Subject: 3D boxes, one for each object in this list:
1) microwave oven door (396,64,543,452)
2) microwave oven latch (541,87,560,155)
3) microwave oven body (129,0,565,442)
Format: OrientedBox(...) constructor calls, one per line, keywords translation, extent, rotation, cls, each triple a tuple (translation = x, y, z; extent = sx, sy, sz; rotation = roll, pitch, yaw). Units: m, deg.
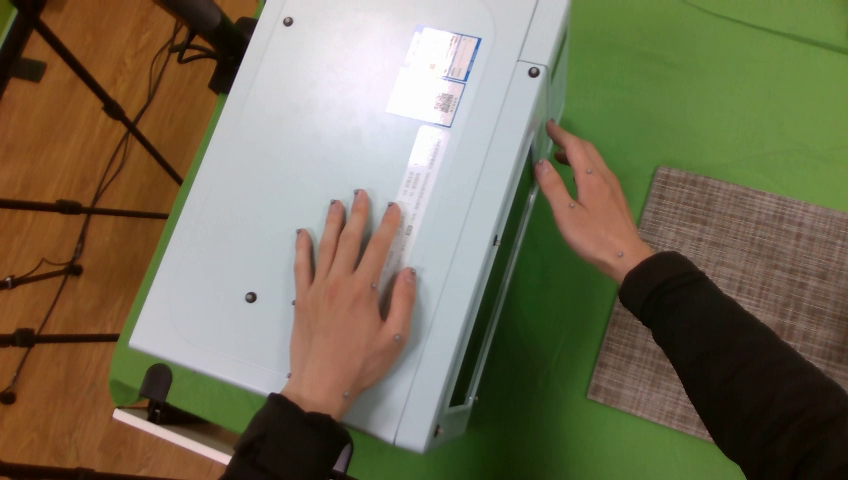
OrientedBox(translation=(0.060, 0.032, 0.634), extent=(0.039, 0.245, 0.354), rotation=(15, 81, 15), cls="microwave oven door")
OrientedBox(translation=(0.149, -0.149, 0.764), extent=(0.030, 0.030, 0.079), rotation=(16, 82, 14), cls="microwave oven latch")
OrientedBox(translation=(-0.062, -0.045, 0.680), extent=(0.325, 0.262, 0.440), rotation=(16, 81, 14), cls="microwave oven body")
